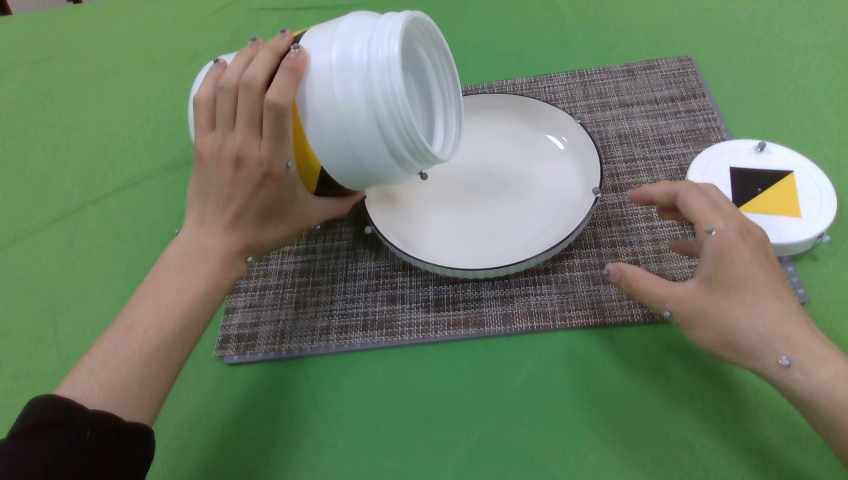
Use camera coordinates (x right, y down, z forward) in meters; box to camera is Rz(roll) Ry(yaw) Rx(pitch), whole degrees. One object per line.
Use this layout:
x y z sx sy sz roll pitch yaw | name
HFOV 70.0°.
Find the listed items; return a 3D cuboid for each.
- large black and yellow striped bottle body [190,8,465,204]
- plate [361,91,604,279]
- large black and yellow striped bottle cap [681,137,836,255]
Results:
-0.072 -0.103 0.478 0.183 0.132 0.129 -7 51 26 | large black and yellow striped bottle body
0.050 -0.049 0.532 0.207 0.039 0.205 -5 53 7 | plate
0.273 -0.039 0.497 0.115 0.019 0.114 -2 54 4 | large black and yellow striped bottle cap
